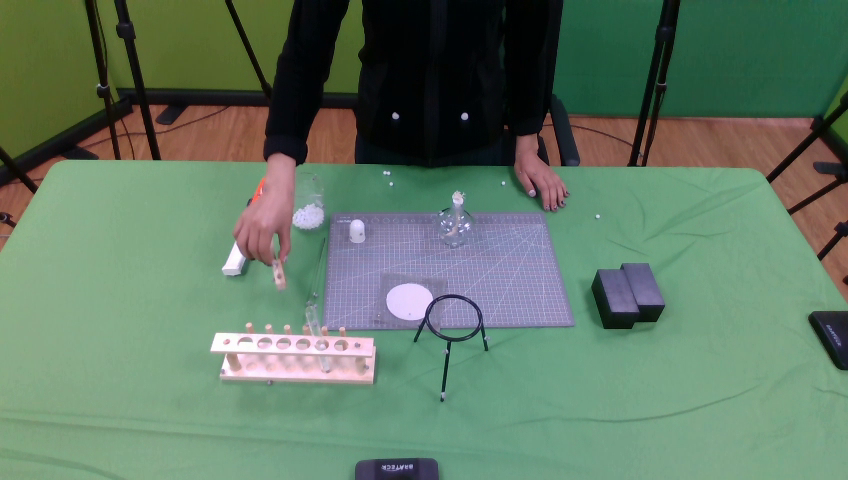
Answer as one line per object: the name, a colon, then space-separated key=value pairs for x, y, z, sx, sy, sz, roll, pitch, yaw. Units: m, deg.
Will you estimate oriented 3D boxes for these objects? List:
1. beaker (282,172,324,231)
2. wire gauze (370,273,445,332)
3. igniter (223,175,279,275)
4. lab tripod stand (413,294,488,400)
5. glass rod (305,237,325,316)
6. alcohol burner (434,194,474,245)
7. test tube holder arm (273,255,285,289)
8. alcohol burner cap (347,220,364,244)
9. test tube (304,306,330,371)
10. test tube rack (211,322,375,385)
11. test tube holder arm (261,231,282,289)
beaker: x=-0.234 y=-0.073 z=1.199 sx=0.084 sy=0.101 sz=0.074 roll=24 pitch=50 yaw=17
wire gauze: x=-0.028 y=0.109 z=1.099 sx=0.125 sy=0.011 sz=0.121 roll=7 pitch=45 yaw=4
igniter: x=-0.341 y=-0.039 z=1.207 sx=0.057 sy=0.025 sz=0.275 roll=-1 pitch=45 yaw=8
lab tripod stand: x=0.045 y=0.159 z=0.972 sx=0.148 sy=0.132 sz=0.147 roll=2 pitch=44 yaw=-2
glass rod: x=-0.203 y=0.064 z=1.132 sx=0.008 sy=0.008 sz=0.198 roll=3 pitch=43 yaw=-1
alcohol burner: x=0.061 y=-0.046 z=1.182 sx=0.078 sy=0.119 sz=0.077 roll=3 pitch=47 yaw=-3
test tube holder arm: x=-0.252 y=0.055 z=1.048 sx=0.010 sy=0.015 sz=0.087 roll=-4 pitch=32 yaw=-22
alcohol burner cap: x=-0.135 y=-0.018 z=1.190 sx=0.034 sy=0.048 sz=0.033 roll=2 pitch=45 yaw=-2
test tube: x=-0.162 y=0.153 z=0.925 sx=0.017 sy=0.151 sz=0.017 roll=-2 pitch=44 yaw=2
test tube rack: x=-0.203 y=0.176 z=0.969 sx=0.242 sy=0.085 sz=0.066 roll=3 pitch=46 yaw=-2
test tube holder arm: x=-0.274 y=0.032 z=1.081 sx=0.013 sy=0.015 sz=0.177 roll=-5 pitch=32 yaw=-24
